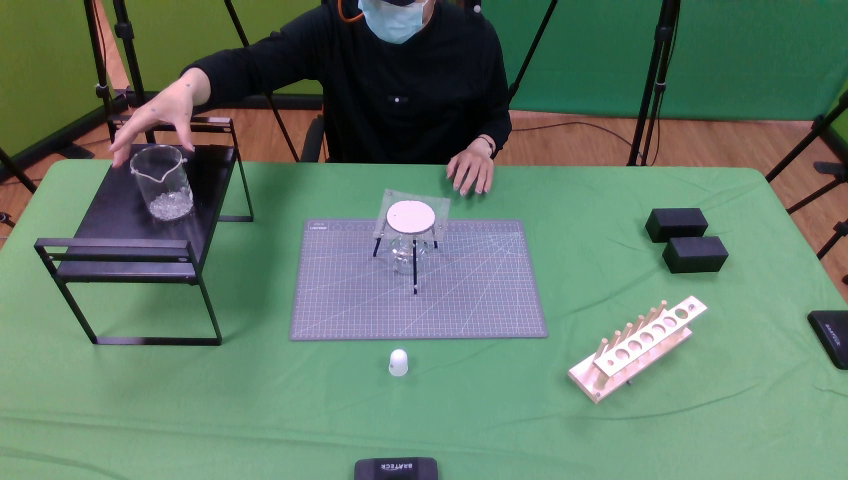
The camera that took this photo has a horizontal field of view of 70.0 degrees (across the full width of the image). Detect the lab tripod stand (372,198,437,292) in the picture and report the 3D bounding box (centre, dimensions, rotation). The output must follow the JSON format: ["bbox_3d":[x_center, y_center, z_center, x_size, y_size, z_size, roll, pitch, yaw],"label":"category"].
[{"bbox_3d":[-0.025,-0.002,1.112,0.148,0.132,0.147,2,44,-2],"label":"lab tripod stand"}]

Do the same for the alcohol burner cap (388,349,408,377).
[{"bbox_3d":[-0.042,0.197,0.989,0.034,0.048,0.033,2,46,-2],"label":"alcohol burner cap"}]

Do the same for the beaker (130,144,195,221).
[{"bbox_3d":[-0.403,-0.085,0.944,0.074,0.101,0.083,-15,50,-17],"label":"beaker"}]

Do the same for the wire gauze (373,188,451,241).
[{"bbox_3d":[-0.019,-0.045,1.060,0.121,0.011,0.124,8,44,3],"label":"wire gauze"}]

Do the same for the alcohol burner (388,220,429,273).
[{"bbox_3d":[-0.028,0.006,1.118,0.078,0.119,0.077,2,48,-2],"label":"alcohol burner"}]

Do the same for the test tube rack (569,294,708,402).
[{"bbox_3d":[0.360,0.167,1.014,0.242,0.085,0.066,-25,53,-25],"label":"test tube rack"}]
